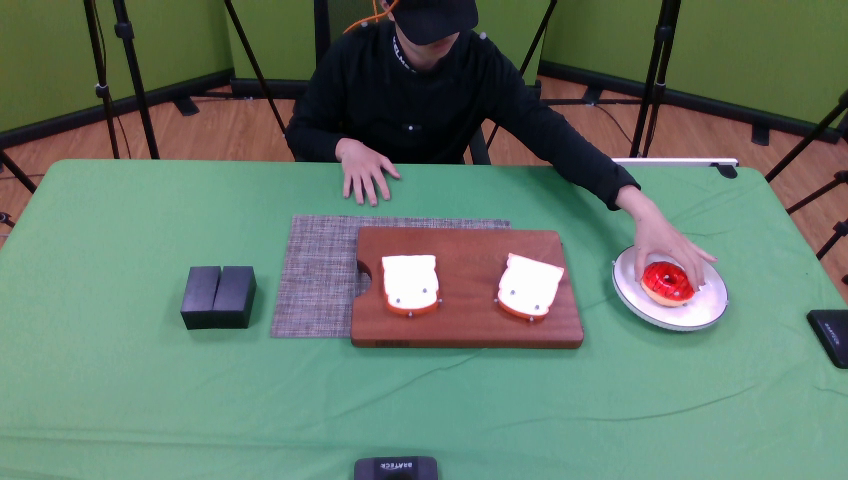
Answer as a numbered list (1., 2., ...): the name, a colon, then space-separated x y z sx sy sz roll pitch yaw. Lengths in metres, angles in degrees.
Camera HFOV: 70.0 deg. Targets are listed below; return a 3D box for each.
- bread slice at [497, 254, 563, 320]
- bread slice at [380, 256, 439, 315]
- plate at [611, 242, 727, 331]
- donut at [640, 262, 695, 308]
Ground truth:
1. bread slice: 0.189 0.087 1.095 0.107 0.018 0.134 15 46 10
2. bread slice: -0.024 0.079 1.087 0.105 0.019 0.130 -3 45 -5
3. plate: 0.455 0.090 1.138 0.209 0.038 0.208 2 46 -2
4. donut: 0.453 0.084 1.130 0.099 0.048 0.098 3 42 -3
